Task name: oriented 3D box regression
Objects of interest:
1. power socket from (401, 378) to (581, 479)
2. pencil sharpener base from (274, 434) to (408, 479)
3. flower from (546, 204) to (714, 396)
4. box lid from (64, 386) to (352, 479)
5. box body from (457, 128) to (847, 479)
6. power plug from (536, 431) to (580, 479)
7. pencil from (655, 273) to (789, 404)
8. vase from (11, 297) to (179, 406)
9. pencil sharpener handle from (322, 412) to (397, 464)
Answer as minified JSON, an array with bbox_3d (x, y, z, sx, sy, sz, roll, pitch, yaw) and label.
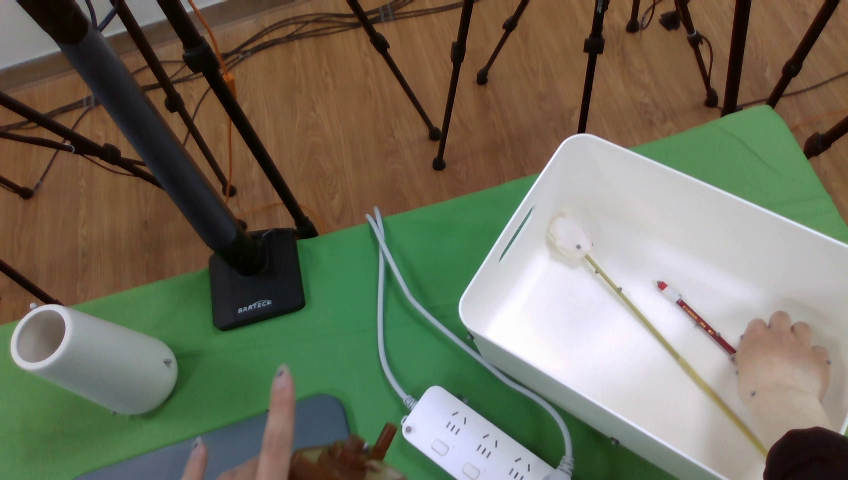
[{"bbox_3d":[0.074,0.238,0.674,0.225,0.033,0.072,32,74,21],"label":"power socket"},{"bbox_3d":[-0.065,0.189,0.455,0.061,0.108,0.076,25,85,21],"label":"pencil sharpener base"},{"bbox_3d":[0.268,0.100,0.709,0.044,0.038,0.359,-41,71,12],"label":"flower"},{"bbox_3d":[-0.238,0.340,0.690,0.371,0.015,0.261,-19,65,1],"label":"box lid"},{"bbox_3d":[0.252,0.082,0.642,0.362,0.162,0.253,29,74,20],"label":"box body"},{"bbox_3d":[0.147,0.242,0.635,0.072,0.053,0.035,-40,63,-14],"label":"power plug"},{"bbox_3d":[0.338,0.109,0.693,0.012,0.012,0.192,-37,67,-8],"label":"pencil"},{"bbox_3d":[-0.371,0.129,0.702,0.098,0.202,0.097,-3,64,7],"label":"vase"},{"bbox_3d":[-0.044,0.141,0.447,0.035,0.068,0.030,25,84,28],"label":"pencil sharpener handle"}]
